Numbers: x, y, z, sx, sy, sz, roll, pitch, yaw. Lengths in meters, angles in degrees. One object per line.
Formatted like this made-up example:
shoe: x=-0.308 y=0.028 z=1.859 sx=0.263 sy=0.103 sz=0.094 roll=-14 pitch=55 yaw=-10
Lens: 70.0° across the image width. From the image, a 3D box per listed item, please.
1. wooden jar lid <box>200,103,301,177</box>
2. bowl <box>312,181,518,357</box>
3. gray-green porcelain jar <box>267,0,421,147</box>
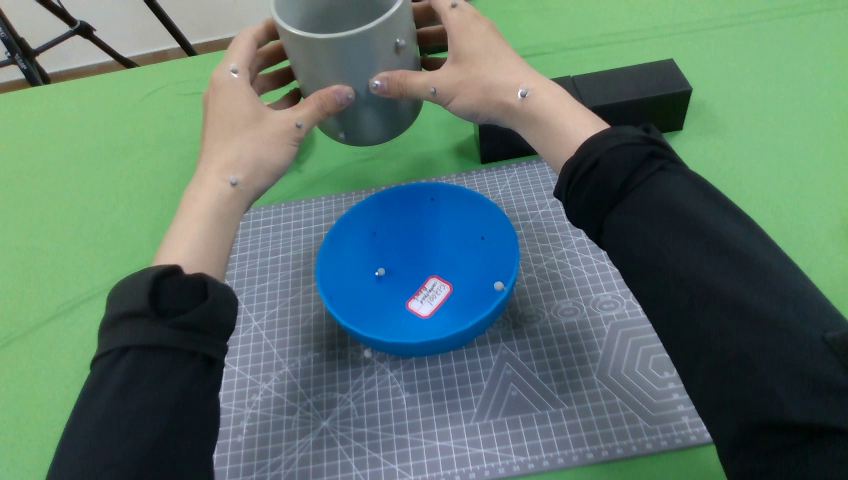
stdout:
wooden jar lid: x=-0.185 y=-0.107 z=0.655 sx=0.108 sy=0.021 sz=0.107 roll=-3 pitch=50 yaw=4
bowl: x=-0.003 y=0.034 z=0.467 sx=0.151 sy=0.077 sz=0.150 roll=-4 pitch=49 yaw=6
gray-green porcelain jar: x=-0.058 y=-0.149 z=0.499 sx=0.106 sy=0.128 sz=0.105 roll=-3 pitch=56 yaw=5
